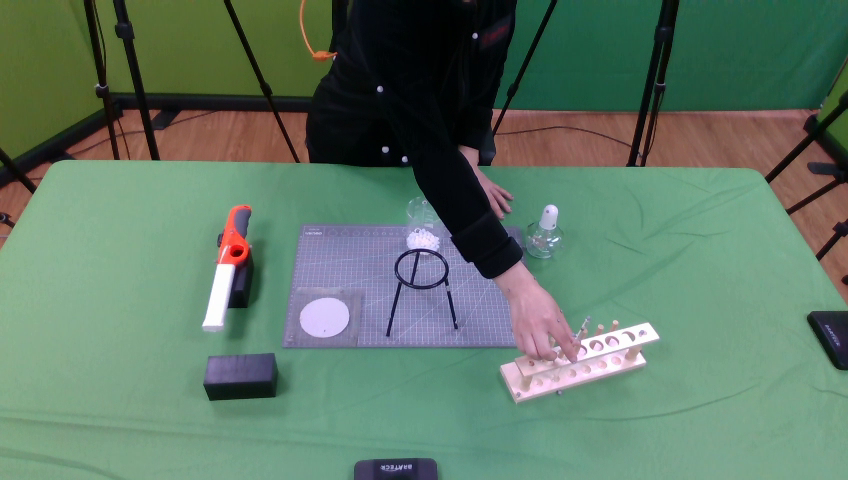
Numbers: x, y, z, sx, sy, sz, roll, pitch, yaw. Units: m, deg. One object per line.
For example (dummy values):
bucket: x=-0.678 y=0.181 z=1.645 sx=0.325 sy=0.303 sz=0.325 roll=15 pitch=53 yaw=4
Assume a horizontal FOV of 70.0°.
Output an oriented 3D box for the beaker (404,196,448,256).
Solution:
beaker: x=0.001 y=-0.024 z=1.164 sx=0.084 sy=0.101 sz=0.073 roll=6 pitch=46 yaw=0

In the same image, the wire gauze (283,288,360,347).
wire gauze: x=-0.178 y=0.132 z=1.063 sx=0.125 sy=0.011 sz=0.120 roll=2 pitch=47 yaw=1

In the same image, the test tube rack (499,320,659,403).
test tube rack: x=0.252 y=0.187 z=0.994 sx=0.243 sy=0.085 sz=0.066 roll=-12 pitch=48 yaw=-15

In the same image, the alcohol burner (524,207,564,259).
alcohol burner: x=0.236 y=-0.020 z=1.174 sx=0.078 sy=0.120 sz=0.077 roll=1 pitch=48 yaw=-1

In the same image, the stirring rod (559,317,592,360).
stirring rod: x=0.224 y=0.155 z=0.912 sx=0.014 sy=0.177 sz=0.006 roll=8 pitch=58 yaw=2

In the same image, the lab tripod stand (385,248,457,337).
lab tripod stand: x=-0.010 y=0.087 z=1.032 sx=0.148 sy=0.132 sz=0.147 roll=1 pitch=45 yaw=-1

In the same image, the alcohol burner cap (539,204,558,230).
alcohol burner cap: x=0.238 y=-0.045 z=1.148 sx=0.034 sy=0.048 sz=0.033 roll=2 pitch=43 yaw=-1

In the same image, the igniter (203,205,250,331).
igniter: x=-0.345 y=0.039 z=1.065 sx=0.057 sy=0.025 sz=0.274 roll=2 pitch=48 yaw=-6
